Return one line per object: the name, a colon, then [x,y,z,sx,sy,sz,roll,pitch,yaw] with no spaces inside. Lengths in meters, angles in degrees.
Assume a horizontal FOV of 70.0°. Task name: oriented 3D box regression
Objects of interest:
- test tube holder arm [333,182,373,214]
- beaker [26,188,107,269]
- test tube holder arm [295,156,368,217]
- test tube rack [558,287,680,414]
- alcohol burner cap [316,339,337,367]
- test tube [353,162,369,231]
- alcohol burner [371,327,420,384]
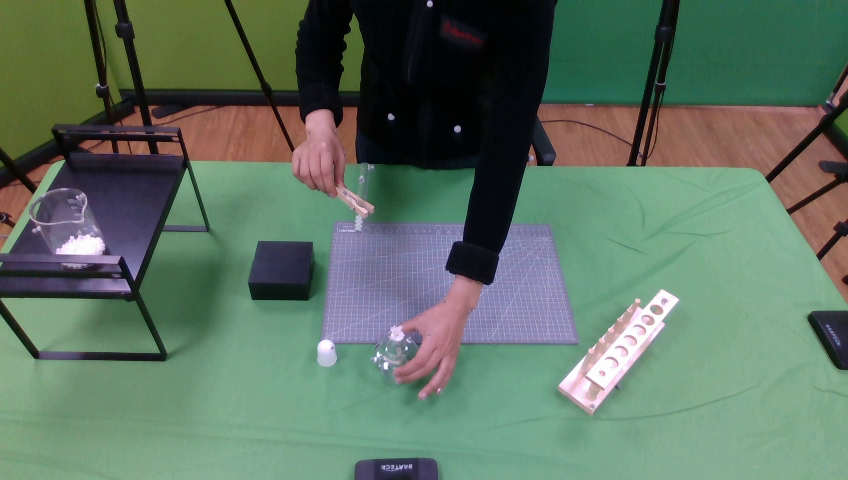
test tube holder arm: [-0.124,-0.073,1.037,0.087,0.015,0.010,31,45,15]
beaker: [-0.504,-0.012,0.867,0.084,0.101,0.074,23,49,17]
test tube holder arm: [-0.162,-0.095,1.048,0.177,0.015,0.013,37,46,20]
test tube rack: [0.326,0.170,1.009,0.066,0.085,0.242,36,54,27]
alcohol burner cap: [-0.161,0.182,0.995,0.034,0.048,0.033,2,47,-2]
test tube: [-0.106,-0.069,1.016,0.017,0.151,0.017,6,46,-6]
alcohol burner: [-0.045,0.175,0.960,0.078,0.120,0.077,1,47,-1]
